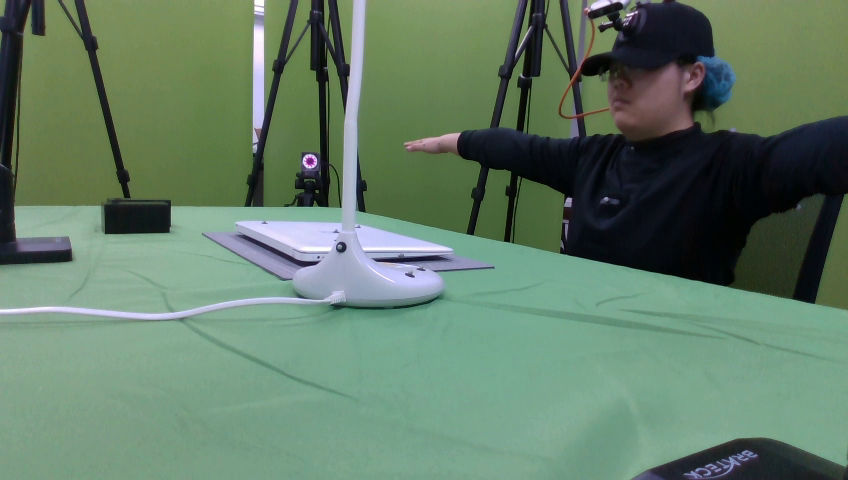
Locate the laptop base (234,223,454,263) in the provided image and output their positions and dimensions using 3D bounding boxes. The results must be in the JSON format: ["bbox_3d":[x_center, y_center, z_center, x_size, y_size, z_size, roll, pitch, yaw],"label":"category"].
[{"bbox_3d":[-0.143,0.004,0.957,0.237,0.023,0.352,2,7,-32],"label":"laptop base"}]

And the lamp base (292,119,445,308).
[{"bbox_3d":[-0.056,-0.030,0.616,0.160,0.180,0.179,3,10,8],"label":"lamp base"}]

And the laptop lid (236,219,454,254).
[{"bbox_3d":[-0.140,-0.009,0.957,0.243,0.013,0.355,1,7,-30],"label":"laptop lid"}]
